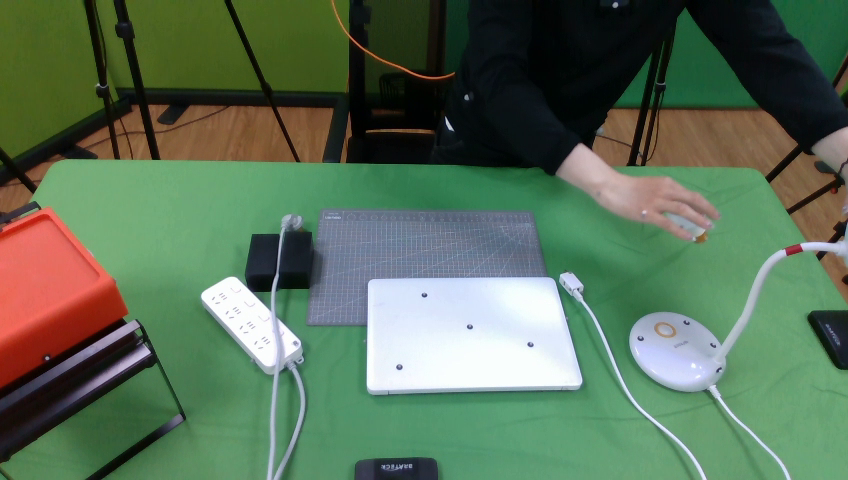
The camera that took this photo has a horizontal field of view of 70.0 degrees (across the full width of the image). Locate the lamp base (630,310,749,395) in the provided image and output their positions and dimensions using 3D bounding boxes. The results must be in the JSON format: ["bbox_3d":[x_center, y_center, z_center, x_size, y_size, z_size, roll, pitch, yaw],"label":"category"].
[{"bbox_3d":[0.447,0.143,0.984,0.161,0.181,0.178,-24,55,-24],"label":"lamp base"}]

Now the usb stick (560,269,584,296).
[{"bbox_3d":[0.275,0.077,1.142,0.027,0.021,0.059,-12,39,-13],"label":"usb stick"}]

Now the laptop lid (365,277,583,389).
[{"bbox_3d":[0.077,0.152,1.046,0.357,0.013,0.240,1,45,-3],"label":"laptop lid"}]

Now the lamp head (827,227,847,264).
[{"bbox_3d":[0.577,-0.003,0.752,0.112,0.123,0.111,1,48,-1],"label":"lamp head"}]

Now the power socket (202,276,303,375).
[{"bbox_3d":[-0.296,0.142,1.034,0.072,0.033,0.225,-34,58,-30],"label":"power socket"}]

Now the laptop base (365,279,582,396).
[{"bbox_3d":[0.077,0.162,1.053,0.355,0.023,0.234,0,44,-4],"label":"laptop base"}]

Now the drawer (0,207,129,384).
[{"bbox_3d":[-0.540,0.074,0.799,0.193,0.073,0.211,37,55,27],"label":"drawer"}]

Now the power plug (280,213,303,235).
[{"bbox_3d":[-0.263,-0.021,1.184,0.035,0.053,0.072,-1,48,31],"label":"power plug"}]

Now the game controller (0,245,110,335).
[{"bbox_3d":[-0.510,0.062,0.830,0.097,0.052,0.154,-30,58,-30],"label":"game controller"}]

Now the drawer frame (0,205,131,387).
[{"bbox_3d":[-0.539,0.075,0.795,0.200,0.083,0.213,36,54,26],"label":"drawer frame"}]

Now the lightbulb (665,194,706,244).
[{"bbox_3d":[0.443,-0.030,1.010,0.059,0.108,0.059,-29,35,22],"label":"lightbulb"}]
